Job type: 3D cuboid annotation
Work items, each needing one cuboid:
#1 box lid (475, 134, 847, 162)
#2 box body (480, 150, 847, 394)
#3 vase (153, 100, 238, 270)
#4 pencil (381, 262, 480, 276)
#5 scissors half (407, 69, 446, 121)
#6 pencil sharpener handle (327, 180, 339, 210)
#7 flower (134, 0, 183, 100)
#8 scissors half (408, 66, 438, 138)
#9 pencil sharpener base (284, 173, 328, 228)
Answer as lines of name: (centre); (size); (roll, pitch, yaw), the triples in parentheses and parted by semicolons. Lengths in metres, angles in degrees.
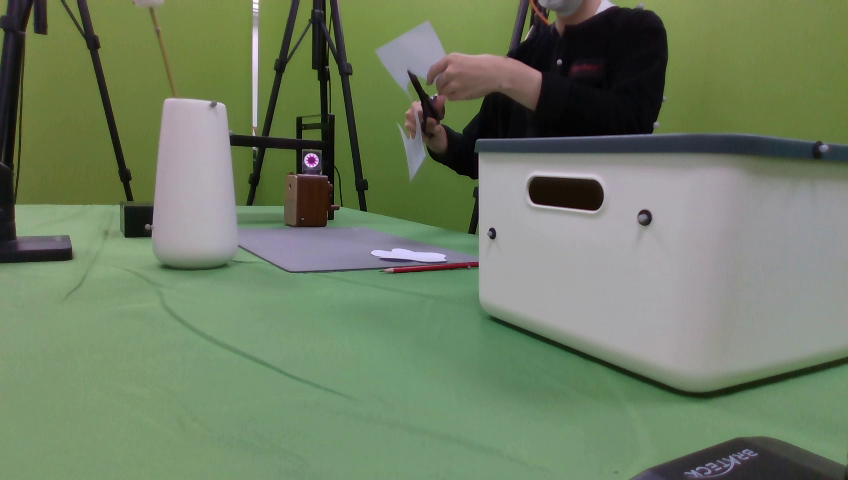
box lid: (0.256, -0.073, 0.528); (0.373, 0.015, 0.262); (-2, 8, -31)
box body: (0.254, 0.002, 0.539); (0.366, 0.160, 0.253); (-2, 9, -31)
vase: (-0.278, -0.066, 0.736); (0.098, 0.200, 0.098); (2, 9, 0)
pencil: (0.030, 0.037, 0.794); (0.195, 0.012, 0.012); (-4, 10, -31)
scissors half: (0.005, -0.263, 1.089); (0.013, 0.040, 0.176); (14, -7, 25)
pencil sharpener handle: (-0.194, -0.095, 1.256); (0.031, 0.067, 0.036); (-2, -5, -36)
flower: (-0.282, -0.147, 0.713); (0.038, 0.362, 0.044); (-23, 24, -31)
scissors half: (-0.004, -0.245, 1.083); (0.012, 0.040, 0.176); (19, -26, 27)
pencil sharpener base: (-0.239, -0.081, 1.231); (0.077, 0.107, 0.061); (-2, 8, -36)
